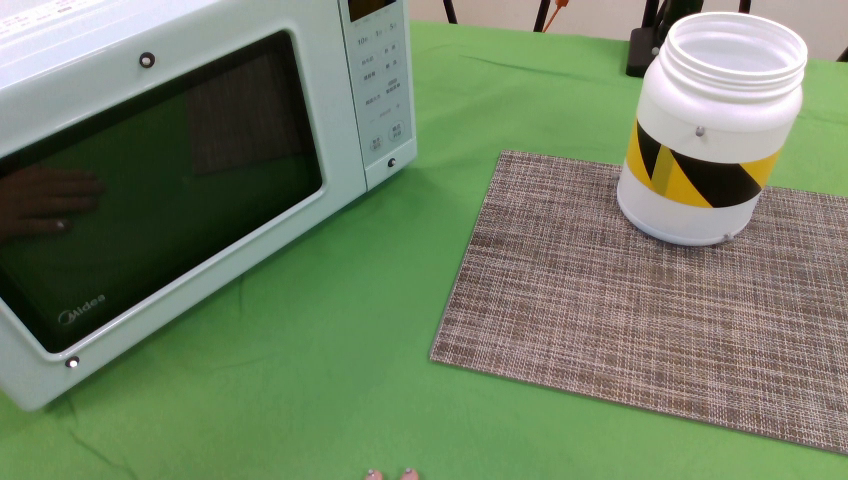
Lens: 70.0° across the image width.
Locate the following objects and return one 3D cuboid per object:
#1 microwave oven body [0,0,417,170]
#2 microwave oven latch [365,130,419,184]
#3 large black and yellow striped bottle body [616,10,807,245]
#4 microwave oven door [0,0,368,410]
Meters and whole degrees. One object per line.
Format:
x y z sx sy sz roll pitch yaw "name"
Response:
-0.274 -0.136 0.574 0.323 0.262 0.441 34 57 30 "microwave oven body"
-0.040 -0.093 0.655 0.079 0.030 0.030 -36 55 -27 "microwave oven latch"
0.260 -0.101 0.561 0.131 0.186 0.129 -2 46 2 "large black and yellow striped bottle body"
-0.199 -0.049 0.477 0.039 0.246 0.355 33 56 31 "microwave oven door"
